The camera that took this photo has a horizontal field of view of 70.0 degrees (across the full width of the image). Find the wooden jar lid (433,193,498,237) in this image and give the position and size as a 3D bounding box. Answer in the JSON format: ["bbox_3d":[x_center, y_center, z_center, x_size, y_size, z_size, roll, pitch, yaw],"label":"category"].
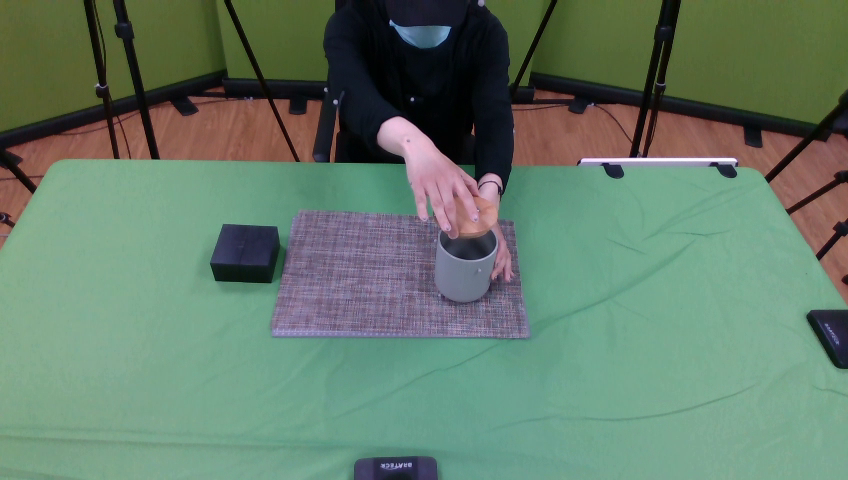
[{"bbox_3d":[0.069,-0.040,1.004,0.108,0.021,0.107,-1,39,1],"label":"wooden jar lid"}]

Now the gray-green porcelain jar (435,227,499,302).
[{"bbox_3d":[0.073,0.041,1.083,0.106,0.127,0.105,2,46,-2],"label":"gray-green porcelain jar"}]
